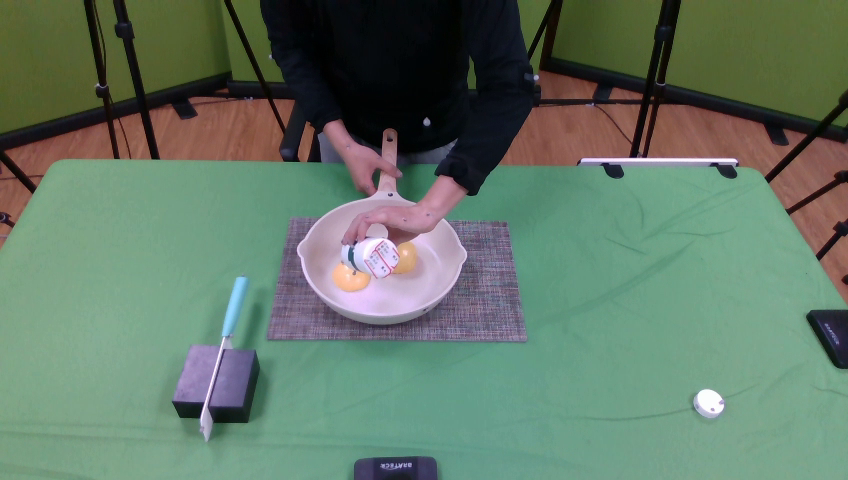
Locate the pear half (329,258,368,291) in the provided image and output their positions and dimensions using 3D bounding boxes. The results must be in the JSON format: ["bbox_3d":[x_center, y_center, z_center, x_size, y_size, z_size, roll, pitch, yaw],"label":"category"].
[{"bbox_3d":[-0.139,0.053,1.121,0.070,0.031,0.087,-6,50,-17],"label":"pear half"}]

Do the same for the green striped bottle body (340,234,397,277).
[{"bbox_3d":[-0.098,0.024,1.004,0.063,0.063,0.119,-25,16,-26],"label":"green striped bottle body"}]

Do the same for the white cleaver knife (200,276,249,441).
[{"bbox_3d":[-0.321,0.177,0.972,0.021,0.066,0.284,7,48,-5],"label":"white cleaver knife"}]

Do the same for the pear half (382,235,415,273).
[{"bbox_3d":[-0.074,0.017,1.146,0.110,0.056,0.076,10,41,6],"label":"pear half"}]

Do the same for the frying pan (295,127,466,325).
[{"bbox_3d":[-0.076,-0.045,1.172,0.307,0.103,0.485,3,55,-2],"label":"frying pan"}]

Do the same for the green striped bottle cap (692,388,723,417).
[{"bbox_3d":[0.460,0.263,0.984,0.044,0.020,0.044,3,47,-3],"label":"green striped bottle cap"}]
